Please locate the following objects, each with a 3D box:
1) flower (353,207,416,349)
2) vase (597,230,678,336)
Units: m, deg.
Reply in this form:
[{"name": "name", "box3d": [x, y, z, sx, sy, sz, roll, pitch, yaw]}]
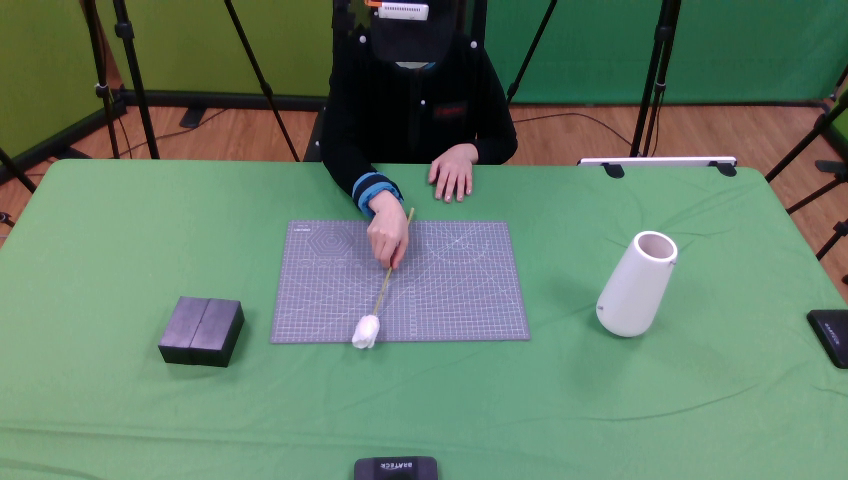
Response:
[{"name": "flower", "box3d": [-0.061, 0.053, 1.129, 0.038, 0.044, 0.360, 26, 44, -7]}, {"name": "vase", "box3d": [0.360, 0.077, 1.026, 0.098, 0.201, 0.097, 1, 47, -1]}]
